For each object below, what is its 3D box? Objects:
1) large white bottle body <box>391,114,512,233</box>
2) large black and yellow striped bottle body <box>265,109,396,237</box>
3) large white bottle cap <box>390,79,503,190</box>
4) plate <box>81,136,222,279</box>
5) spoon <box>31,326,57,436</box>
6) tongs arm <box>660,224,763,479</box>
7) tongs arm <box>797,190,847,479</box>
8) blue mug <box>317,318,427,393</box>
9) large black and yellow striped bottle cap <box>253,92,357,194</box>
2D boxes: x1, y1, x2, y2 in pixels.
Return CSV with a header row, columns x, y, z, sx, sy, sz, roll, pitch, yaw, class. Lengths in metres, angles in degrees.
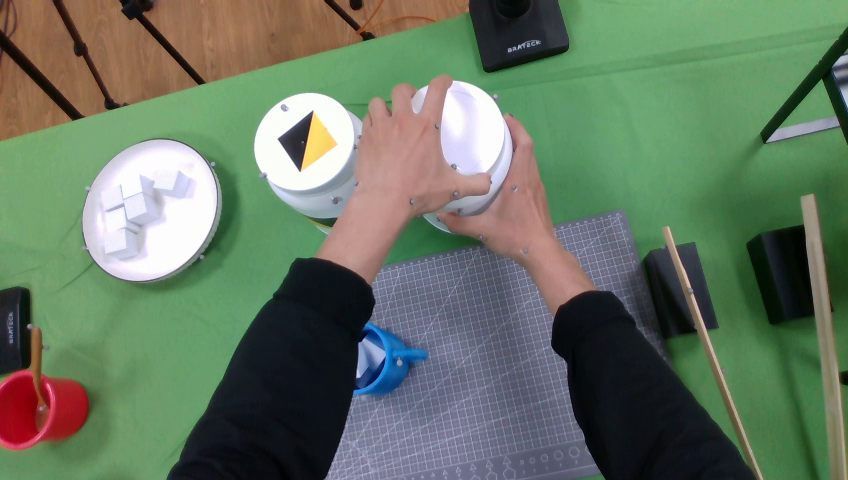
x,y,z,sx,sy,sz,roll,pitch,yaw,class
0.035,-0.089,0.694,0.130,0.185,0.130,-2,78,8,large white bottle body
-0.116,-0.086,0.745,0.130,0.185,0.130,-2,76,10,large black and yellow striped bottle body
0.023,-0.107,0.612,0.114,0.018,0.114,-1,79,7,large white bottle cap
-0.380,-0.044,0.857,0.207,0.039,0.206,-2,77,9,plate
-0.486,0.181,0.767,0.041,0.021,0.195,33,128,19,spoon
0.340,0.158,0.649,0.051,0.026,0.384,-17,86,3,tongs arm
0.419,0.140,0.642,0.028,0.028,0.387,-4,88,0,tongs arm
-0.054,0.138,0.720,0.116,0.106,0.082,-6,75,8,blue mug
-0.131,-0.108,0.665,0.115,0.019,0.114,-2,77,8,large black and yellow striped bottle cap
